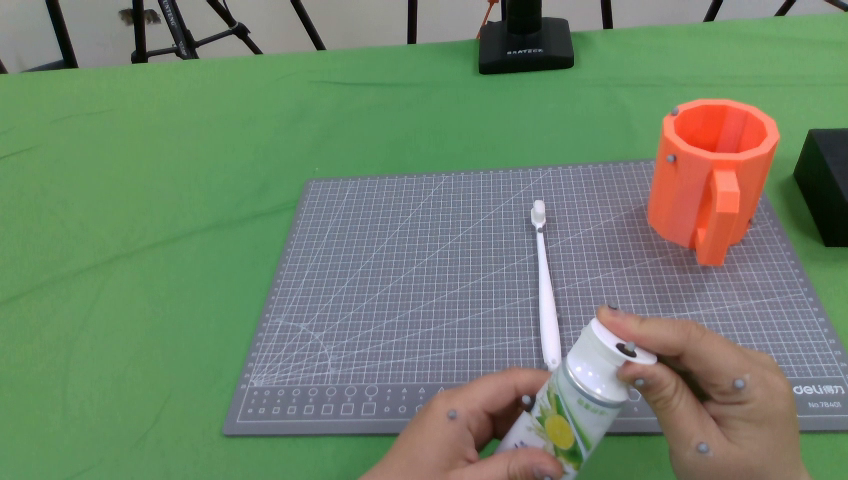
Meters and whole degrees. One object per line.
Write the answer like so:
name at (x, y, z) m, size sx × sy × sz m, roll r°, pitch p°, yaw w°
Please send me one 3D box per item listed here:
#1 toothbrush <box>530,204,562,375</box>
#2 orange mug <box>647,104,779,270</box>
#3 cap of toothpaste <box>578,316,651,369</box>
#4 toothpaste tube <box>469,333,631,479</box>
toothbrush at (0.101, 0.034, 0.504) m, size 0.014 × 0.017 × 0.180 m, roll 6°, pitch 46°, yaw -1°
orange mug at (0.236, -0.040, 0.499) m, size 0.083 × 0.102 × 0.125 m, roll 3°, pitch 41°, yaw 13°
cap of toothpaste at (0.091, 0.052, 0.293) m, size 0.037 × 0.011 × 0.037 m, roll 19°, pitch 25°, yaw -9°
toothpaste tube at (0.061, 0.115, 0.329) m, size 0.035 × 0.166 × 0.054 m, roll -7°, pitch 39°, yaw -46°
